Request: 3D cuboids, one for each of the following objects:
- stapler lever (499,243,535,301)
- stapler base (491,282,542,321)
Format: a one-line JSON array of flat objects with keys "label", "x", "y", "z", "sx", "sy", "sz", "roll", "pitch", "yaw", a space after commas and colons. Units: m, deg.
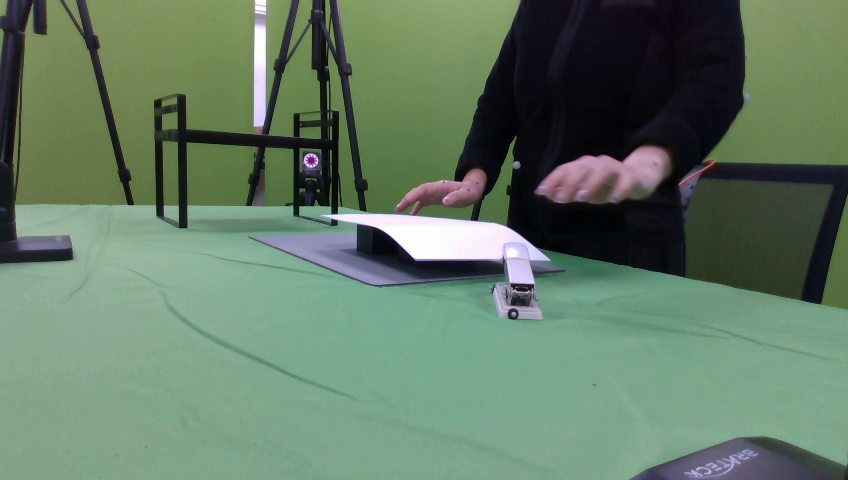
[{"label": "stapler lever", "x": 0.093, "y": 0.030, "z": 0.608, "sx": 0.027, "sy": 0.040, "sz": 0.118, "roll": 0, "pitch": 9, "yaw": 3}, {"label": "stapler base", "x": 0.092, "y": 0.054, "z": 0.613, "sx": 0.041, "sy": 0.024, "sz": 0.130, "roll": 0, "pitch": 9, "yaw": 3}]
